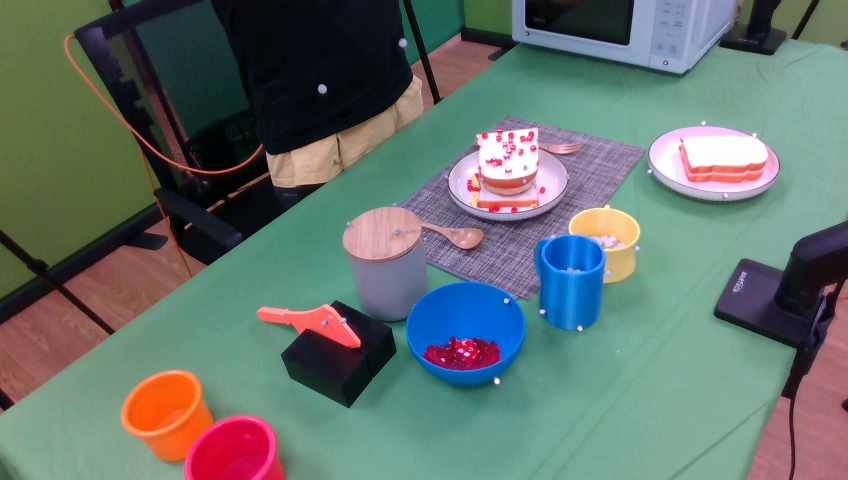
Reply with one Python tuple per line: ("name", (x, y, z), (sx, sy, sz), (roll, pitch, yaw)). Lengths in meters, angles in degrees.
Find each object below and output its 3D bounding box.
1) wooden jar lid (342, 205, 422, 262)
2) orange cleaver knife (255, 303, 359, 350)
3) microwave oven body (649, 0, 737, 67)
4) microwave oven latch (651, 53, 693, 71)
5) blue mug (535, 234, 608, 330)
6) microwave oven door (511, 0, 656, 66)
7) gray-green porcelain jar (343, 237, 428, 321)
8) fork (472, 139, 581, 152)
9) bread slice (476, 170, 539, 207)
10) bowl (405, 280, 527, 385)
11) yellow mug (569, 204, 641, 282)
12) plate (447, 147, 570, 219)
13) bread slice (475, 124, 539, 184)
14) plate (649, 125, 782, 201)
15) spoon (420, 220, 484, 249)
("wooden jar lid", (-0.055, -0.006, 0.808), (0.108, 0.021, 0.108), (-6, 40, 6))
("orange cleaver knife", (-0.161, 0.115, 0.813), (0.209, 0.077, 0.012), (-4, 30, 47))
("microwave oven body", (0.475, -0.602, 1.411), (0.438, 0.261, 0.327), (23, 50, 32))
("microwave oven latch", (0.532, -0.386, 1.301), (0.078, 0.029, 0.030), (27, 52, 34))
("blue mug", (0.191, 0.048, 0.824), (0.082, 0.106, 0.115), (-26, 44, -21))
("microwave oven door", (0.350, -0.539, 1.349), (0.353, 0.245, 0.039), (24, 50, 31))
("gray-green porcelain jar", (-0.050, 0.042, 0.849), (0.106, 0.127, 0.105), (-5, 41, 4))
("fork", (0.193, -0.184, 1.153), (0.206, 0.019, 0.028), (7, 48, 14))
("bread slice", (0.144, -0.104, 1.058), (0.105, 0.019, 0.131), (-1, 43, 5))
("bowl", (0.055, 0.131, 0.767), (0.151, 0.077, 0.150), (-4, 40, 4))
("yellow mug", (0.268, -0.005, 0.904), (0.099, 0.064, 0.130), (7, 41, 15))
("plate", (0.145, -0.098, 1.046), (0.209, 0.038, 0.208), (-4, 40, 4))
("bread slice", (0.143, -0.144, 1.009), (0.107, 0.018, 0.133), (-7, 46, 8))
("plate", (0.493, -0.128, 1.036), (0.207, 0.039, 0.206), (-4, 41, 4))
("spoon", (0.010, -0.022, 0.989), (0.192, 0.022, 0.041), (17, 68, 25))
